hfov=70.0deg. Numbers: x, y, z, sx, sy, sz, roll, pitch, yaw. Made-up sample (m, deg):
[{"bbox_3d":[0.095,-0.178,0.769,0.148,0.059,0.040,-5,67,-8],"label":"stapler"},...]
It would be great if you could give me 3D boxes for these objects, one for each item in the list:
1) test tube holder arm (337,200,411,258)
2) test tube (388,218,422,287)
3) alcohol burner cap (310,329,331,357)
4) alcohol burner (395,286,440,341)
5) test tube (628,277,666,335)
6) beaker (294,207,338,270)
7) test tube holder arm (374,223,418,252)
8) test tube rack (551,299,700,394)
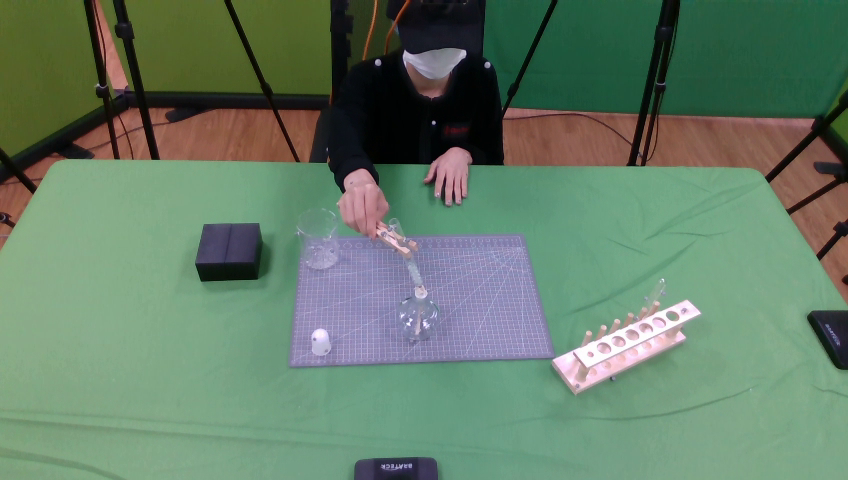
[{"bbox_3d":[-0.081,-0.020,0.939,0.013,0.015,0.177,-41,51,-21],"label":"test tube holder arm"},{"bbox_3d":[-0.026,0.022,0.917,0.017,0.151,0.017,-10,47,10],"label":"test tube"},{"bbox_3d":[-0.173,0.168,1.004,0.034,0.048,0.033,2,46,-2],"label":"alcohol burner cap"},{"bbox_3d":[-0.010,0.116,1.018,0.078,0.119,0.077,3,47,-3],"label":"alcohol burner"},{"bbox_3d":[0.371,0.112,1.014,0.017,0.151,0.017,3,47,-3],"label":"test tube"},{"bbox_3d":[-0.196,0.003,1.123,0.074,0.101,0.083,-23,53,-24],"label":"beaker"},{"bbox_3d":[-0.046,-0.005,0.916,0.087,0.015,0.010,25,59,32],"label":"test tube holder arm"},{"bbox_3d":[0.339,0.166,1.021,0.242,0.085,0.066,-19,50,-21],"label":"test tube rack"}]
